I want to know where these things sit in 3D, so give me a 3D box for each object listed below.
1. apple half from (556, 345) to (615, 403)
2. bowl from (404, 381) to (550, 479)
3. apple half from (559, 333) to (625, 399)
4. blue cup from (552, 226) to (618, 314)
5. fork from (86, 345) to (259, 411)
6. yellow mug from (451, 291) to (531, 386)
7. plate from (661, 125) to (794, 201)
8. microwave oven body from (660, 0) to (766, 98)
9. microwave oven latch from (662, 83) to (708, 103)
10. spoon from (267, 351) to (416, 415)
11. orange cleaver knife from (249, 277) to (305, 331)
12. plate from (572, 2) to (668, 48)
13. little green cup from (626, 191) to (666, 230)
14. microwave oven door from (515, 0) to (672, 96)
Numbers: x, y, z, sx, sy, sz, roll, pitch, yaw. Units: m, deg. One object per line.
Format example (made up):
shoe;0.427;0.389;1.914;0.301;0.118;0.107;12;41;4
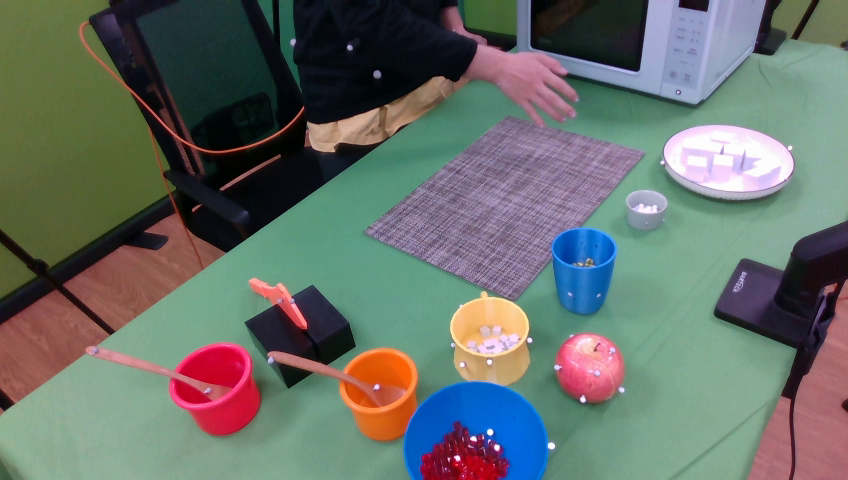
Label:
apple half;0.181;0.167;0.709;0.080;0.081;0.033;29;50;35
bowl;0.058;0.235;0.645;0.151;0.077;0.150;-4;39;4
apple half;0.209;0.147;0.730;0.080;0.075;0.053;26;47;38
blue cup;0.218;0.047;0.826;0.092;0.101;0.092;-6;40;5
fork;-0.298;0.167;0.728;0.209;0.018;0.028;29;46;-23
yellow mug;0.085;0.120;0.786;0.100;0.064;0.130;-7;39;1
plate;0.513;-0.128;1.035;0.207;0.039;0.206;-4;40;4
microwave oven body;0.472;-0.513;1.317;0.438;0.261;0.327;26;51;34
microwave oven latch;0.517;-0.296;1.204;0.078;0.029;0.030;27;52;35
spoon;-0.091;0.162;0.699;0.021;0.195;0.041;-45;30;26
orange cleaver knife;-0.210;0.088;0.855;0.012;0.077;0.210;-28;15;-25
plate;0.440;-0.482;1.367;0.209;0.038;0.208;-4;41;4
little green cup;0.352;-0.046;0.963;0.061;0.039;0.061;-4;40;4
microwave oven door;0.344;-0.455;1.259;0.353;0.245;0.039;26;51;33
